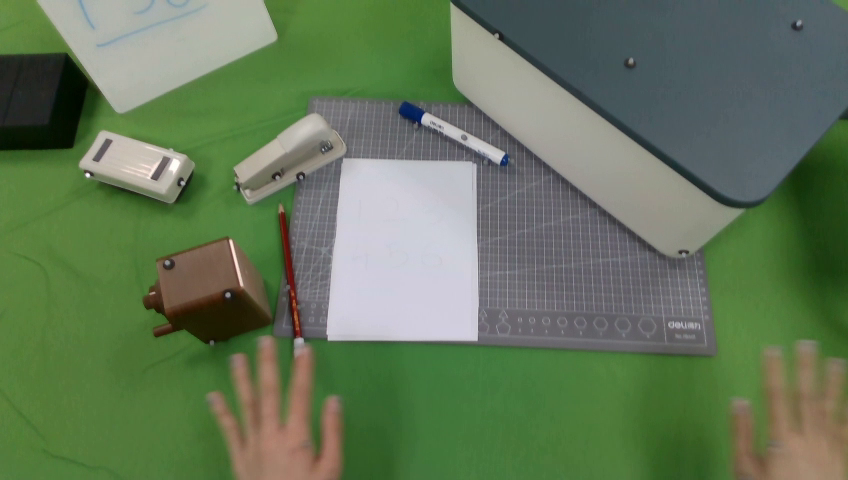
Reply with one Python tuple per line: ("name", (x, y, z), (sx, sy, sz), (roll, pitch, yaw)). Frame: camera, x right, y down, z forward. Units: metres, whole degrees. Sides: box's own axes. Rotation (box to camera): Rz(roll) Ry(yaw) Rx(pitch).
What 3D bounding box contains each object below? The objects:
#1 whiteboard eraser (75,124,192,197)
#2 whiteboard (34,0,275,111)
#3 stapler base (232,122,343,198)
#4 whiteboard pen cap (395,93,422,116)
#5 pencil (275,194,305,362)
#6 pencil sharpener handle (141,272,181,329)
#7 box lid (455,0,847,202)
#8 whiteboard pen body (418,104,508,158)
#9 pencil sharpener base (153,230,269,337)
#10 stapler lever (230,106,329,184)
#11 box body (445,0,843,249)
("whiteboard eraser", (-0.321, -0.087, 0.674), (0.112, 0.042, 0.055), (17, 71, 6))
("whiteboard", (-0.340, -0.344, 0.671), (0.217, 0.308, 0.142), (-30, 51, -11))
("stapler base", (-0.156, -0.097, 0.686), (0.130, 0.024, 0.041), (-31, 67, -8))
("whiteboard pen cap", (-0.017, -0.159, 0.713), (0.033, 0.018, 0.018), (30, 71, 14))
("pencil", (-0.145, 0.035, 0.640), (0.012, 0.012, 0.192), (-12, 68, -4))
("pencil sharpener handle", (-0.251, 0.061, 0.565), (0.031, 0.068, 0.035), (-19, 52, -7))
("box lid", (0.224, -0.226, 0.583), (0.369, 0.015, 0.263), (43, 73, 15))
("whiteboard pen body", (0.033, -0.131, 0.698), (0.140, 0.017, 0.017), (30, 71, 14))
("pencil sharpener base", (-0.204, 0.046, 0.584), (0.077, 0.108, 0.061), (-19, 69, -7))
("stapler lever", (-0.159, -0.106, 0.663), (0.118, 0.040, 0.026), (-31, 66, -9))
("box body", (0.226, -0.195, 0.651), (0.362, 0.161, 0.254), (42, 73, 16))
